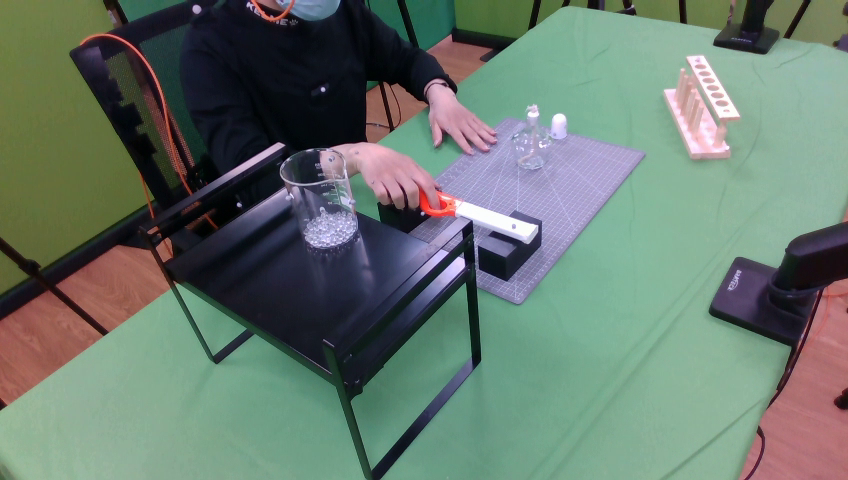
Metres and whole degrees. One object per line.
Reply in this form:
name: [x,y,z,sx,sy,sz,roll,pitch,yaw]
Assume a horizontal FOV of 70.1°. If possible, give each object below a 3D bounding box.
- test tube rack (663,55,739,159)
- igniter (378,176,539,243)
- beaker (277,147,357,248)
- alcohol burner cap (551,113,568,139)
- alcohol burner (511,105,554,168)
test tube rack: [0.518,-0.256,1.144,0.066,0.085,0.241,-1,41,8]
igniter: [0.046,-0.052,0.942,0.274,0.025,0.057,21,49,26]
beaker: [-0.117,-0.046,0.705,0.083,0.101,0.074,17,47,25]
alcohol burner cap: [0.263,-0.223,1.172,0.034,0.048,0.033,-5,39,4]
alcohol burner: [0.196,-0.190,1.088,0.078,0.119,0.077,-3,42,3]
